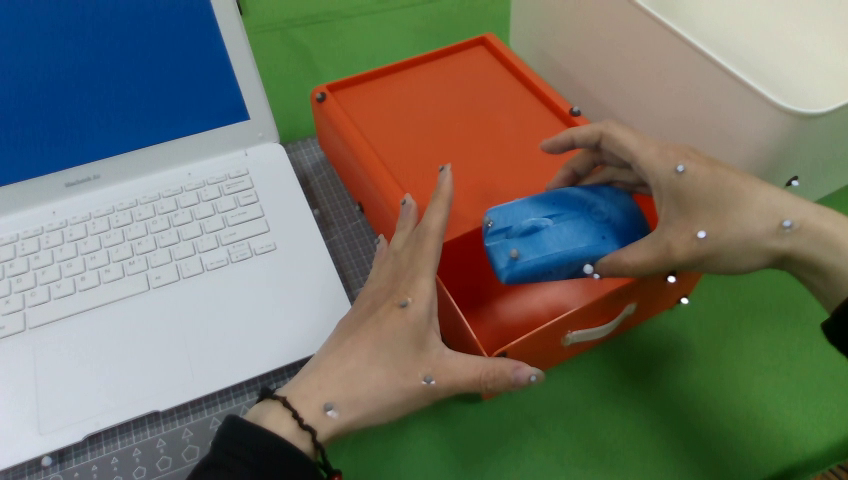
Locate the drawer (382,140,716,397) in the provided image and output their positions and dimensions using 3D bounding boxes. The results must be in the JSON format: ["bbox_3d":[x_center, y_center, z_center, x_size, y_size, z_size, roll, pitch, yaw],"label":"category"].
[{"bbox_3d":[0.080,-0.009,0.487,0.195,0.074,0.209,-23,54,-17],"label":"drawer"}]

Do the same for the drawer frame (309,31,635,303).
[{"bbox_3d":[0.034,-0.075,0.538,0.202,0.083,0.211,-24,55,-18],"label":"drawer frame"}]

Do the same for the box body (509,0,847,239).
[{"bbox_3d":[0.273,-0.198,0.585,0.254,0.162,0.360,-23,55,-17],"label":"box body"}]

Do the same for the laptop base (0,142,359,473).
[{"bbox_3d":[-0.254,0.047,0.486,0.355,0.023,0.233,-19,57,-14],"label":"laptop base"}]

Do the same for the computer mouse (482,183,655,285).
[{"bbox_3d":[0.099,-0.005,0.419,0.117,0.041,0.062,-7,57,-1],"label":"computer mouse"}]

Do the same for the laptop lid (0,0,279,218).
[{"bbox_3d":[-0.324,-0.141,0.504,0.357,0.243,0.013,-20,25,-14],"label":"laptop lid"}]
